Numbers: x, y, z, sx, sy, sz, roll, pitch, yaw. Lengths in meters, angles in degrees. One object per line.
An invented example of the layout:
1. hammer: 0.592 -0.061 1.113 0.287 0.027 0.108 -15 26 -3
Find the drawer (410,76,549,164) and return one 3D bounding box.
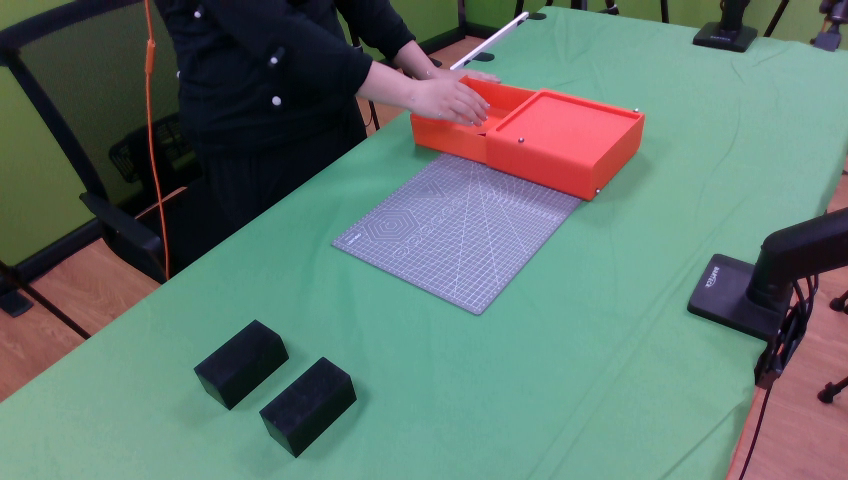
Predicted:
1. drawer: 0.114 -0.238 1.190 0.210 0.073 0.195 22 47 33

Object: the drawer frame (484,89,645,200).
1. drawer frame: 0.253 -0.180 1.094 0.212 0.083 0.202 24 48 31

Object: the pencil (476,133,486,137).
1. pencil: 0.128 -0.208 1.194 0.194 0.012 0.012 -4 40 8
